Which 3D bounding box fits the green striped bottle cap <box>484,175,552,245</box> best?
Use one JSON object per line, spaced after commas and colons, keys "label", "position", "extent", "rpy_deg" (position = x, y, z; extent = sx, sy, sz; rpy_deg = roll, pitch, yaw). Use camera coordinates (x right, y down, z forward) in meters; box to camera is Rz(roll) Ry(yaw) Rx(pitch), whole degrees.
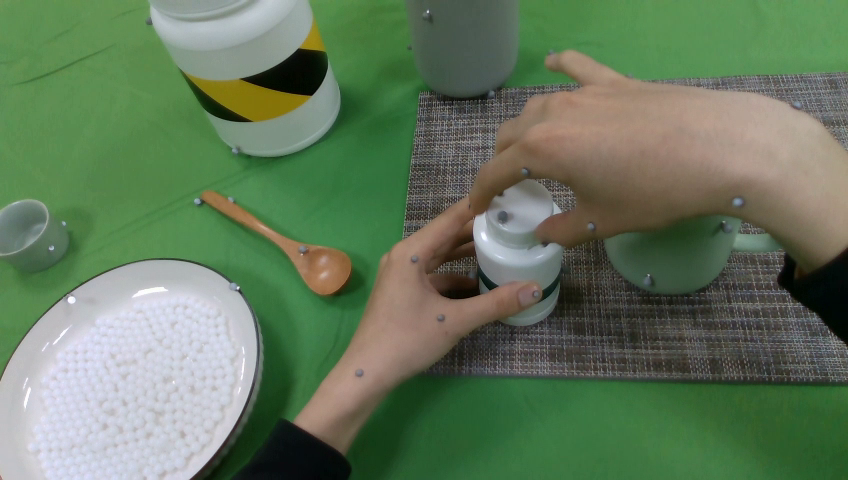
{"label": "green striped bottle cap", "position": [0.061, -0.020, 0.390], "extent": [0.044, 0.020, 0.044], "rpy_deg": [-2, 60, 4]}

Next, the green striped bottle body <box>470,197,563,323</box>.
{"label": "green striped bottle body", "position": [0.066, 0.007, 0.434], "extent": [0.063, 0.120, 0.062], "rpy_deg": [-4, 58, 7]}

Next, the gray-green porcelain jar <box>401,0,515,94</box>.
{"label": "gray-green porcelain jar", "position": [0.034, -0.213, 0.574], "extent": [0.106, 0.128, 0.105], "rpy_deg": [-4, 54, 5]}

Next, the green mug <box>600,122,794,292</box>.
{"label": "green mug", "position": [0.197, -0.019, 0.440], "extent": [0.125, 0.106, 0.092], "rpy_deg": [9, 59, 13]}

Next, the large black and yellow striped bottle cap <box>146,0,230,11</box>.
{"label": "large black and yellow striped bottle cap", "position": [-0.175, -0.225, 0.482], "extent": [0.115, 0.019, 0.114], "rpy_deg": [-3, 57, 5]}

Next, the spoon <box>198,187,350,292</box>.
{"label": "spoon", "position": [-0.138, -0.009, 0.536], "extent": [0.192, 0.022, 0.041], "rpy_deg": [29, 85, 23]}

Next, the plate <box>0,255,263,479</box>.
{"label": "plate", "position": [-0.222, 0.109, 0.467], "extent": [0.209, 0.038, 0.207], "rpy_deg": [-4, 58, 6]}

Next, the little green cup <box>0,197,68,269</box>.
{"label": "little green cup", "position": [-0.365, -0.004, 0.558], "extent": [0.061, 0.039, 0.061], "rpy_deg": [-3, 58, 6]}

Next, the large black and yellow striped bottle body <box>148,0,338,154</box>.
{"label": "large black and yellow striped bottle body", "position": [-0.162, -0.183, 0.552], "extent": [0.130, 0.186, 0.129], "rpy_deg": [-4, 58, 6]}
